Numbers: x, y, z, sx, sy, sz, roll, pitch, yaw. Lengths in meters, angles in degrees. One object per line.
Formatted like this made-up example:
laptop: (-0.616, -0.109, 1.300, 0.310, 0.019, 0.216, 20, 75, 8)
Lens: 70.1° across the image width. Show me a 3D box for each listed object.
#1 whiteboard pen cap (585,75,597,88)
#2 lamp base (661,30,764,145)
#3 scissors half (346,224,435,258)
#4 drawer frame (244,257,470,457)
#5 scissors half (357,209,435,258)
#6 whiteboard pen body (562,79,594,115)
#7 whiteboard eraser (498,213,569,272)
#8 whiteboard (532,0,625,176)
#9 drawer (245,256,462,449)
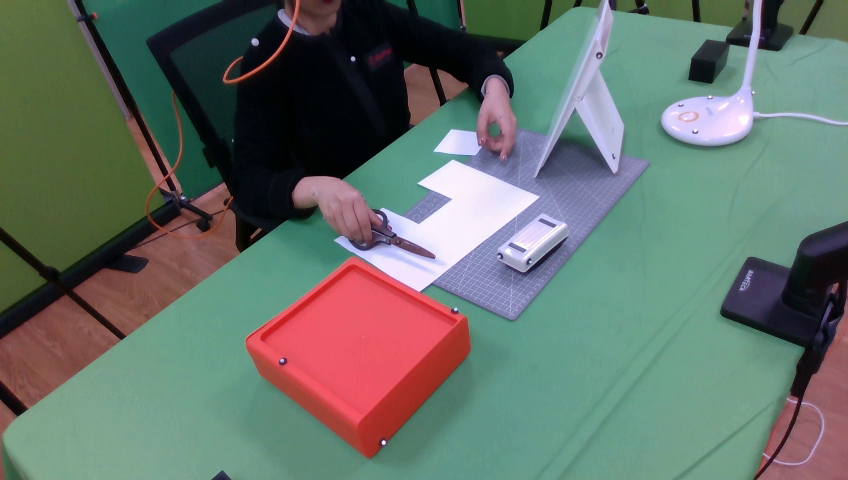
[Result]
whiteboard pen cap: (0.362, -0.343, 1.310, 0.018, 0.018, 0.033, 19, 54, 29)
lamp base: (0.535, -0.287, 1.096, 0.179, 0.181, 0.159, -10, 40, -4)
scissors half: (-0.056, 0.007, 0.972, 0.174, 0.013, 0.040, 12, 69, 29)
drawer frame: (-0.084, 0.138, 0.788, 0.212, 0.083, 0.202, 25, 50, 33)
scissors half: (-0.045, -0.009, 0.978, 0.173, 0.013, 0.040, 33, 75, 34)
whiteboard pen body: (0.328, -0.306, 1.277, 0.017, 0.017, 0.141, 20, 51, 30)
whiteboard eraser: (0.168, 0.006, 0.923, 0.113, 0.042, 0.055, -36, 48, -28)
whiteboard: (0.320, -0.259, 1.050, 0.144, 0.306, 0.217, 21, 45, 5)
drawer: (-0.089, 0.136, 0.792, 0.210, 0.073, 0.195, 26, 51, 34)
